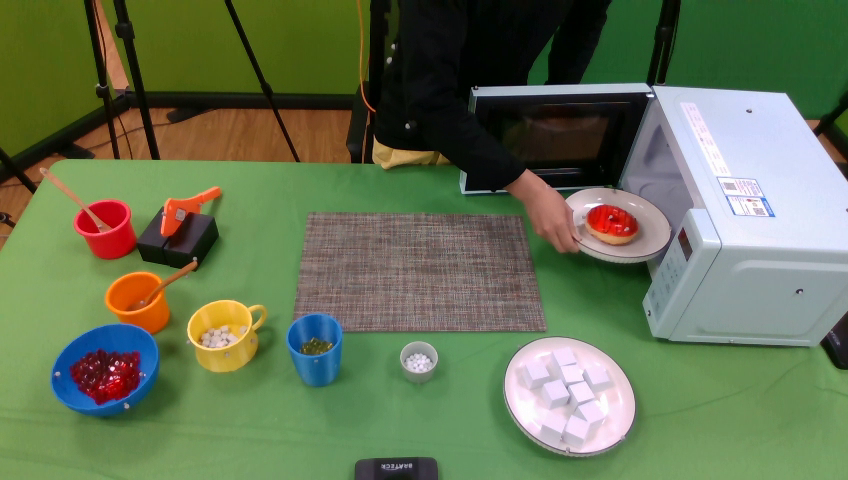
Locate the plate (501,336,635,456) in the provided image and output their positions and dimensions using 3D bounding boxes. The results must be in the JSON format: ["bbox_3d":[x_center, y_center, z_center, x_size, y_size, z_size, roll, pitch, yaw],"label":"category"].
[{"bbox_3d":[0.225,0.248,0.963,0.208,0.039,0.206,2,46,-2],"label":"plate"}]

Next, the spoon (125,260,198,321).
[{"bbox_3d":[-0.435,0.083,1.000,0.022,0.194,0.041,35,34,-35],"label":"spoon"}]

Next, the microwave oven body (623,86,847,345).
[{"bbox_3d":[0.567,-0.053,1.118,0.326,0.261,0.439,2,45,-1],"label":"microwave oven body"}]

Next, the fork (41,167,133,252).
[{"bbox_3d":[-0.624,-0.056,1.121,0.208,0.018,0.028,49,52,-15],"label":"fork"}]

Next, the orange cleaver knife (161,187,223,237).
[{"bbox_3d":[-0.448,-0.059,1.181,0.012,0.077,0.211,13,17,6],"label":"orange cleaver knife"}]

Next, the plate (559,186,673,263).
[{"bbox_3d":[0.361,-0.026,1.153,0.209,0.038,0.208,1,42,-1],"label":"plate"}]

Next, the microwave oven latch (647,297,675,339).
[{"bbox_3d":[0.413,0.134,1.060,0.030,0.029,0.078,5,45,2],"label":"microwave oven latch"}]

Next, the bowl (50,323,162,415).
[{"bbox_3d":[-0.472,0.209,0.924,0.151,0.077,0.150,2,45,-2],"label":"bowl"}]

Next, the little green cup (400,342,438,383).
[{"bbox_3d":[-0.010,0.202,0.991,0.061,0.039,0.061,2,47,-2],"label":"little green cup"}]

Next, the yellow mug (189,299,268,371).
[{"bbox_3d":[-0.316,0.148,1.002,0.131,0.064,0.099,-32,56,-31],"label":"yellow mug"}]

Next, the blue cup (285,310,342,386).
[{"bbox_3d":[-0.170,0.179,0.958,0.093,0.101,0.092,1,44,-1],"label":"blue cup"}]

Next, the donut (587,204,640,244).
[{"bbox_3d":[0.356,-0.031,1.142,0.099,0.048,0.098,6,37,-5],"label":"donut"}]

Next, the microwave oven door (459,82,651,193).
[{"bbox_3d":[0.258,-0.206,1.237,0.356,0.245,0.039,-3,46,-7],"label":"microwave oven door"}]
